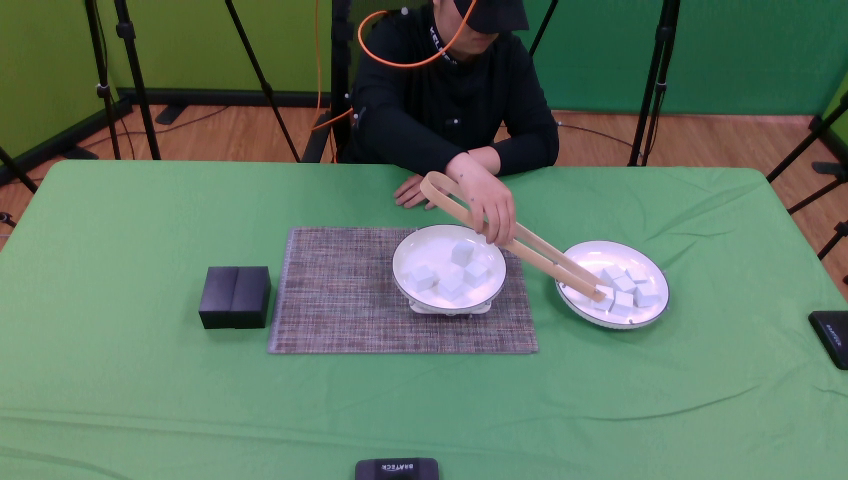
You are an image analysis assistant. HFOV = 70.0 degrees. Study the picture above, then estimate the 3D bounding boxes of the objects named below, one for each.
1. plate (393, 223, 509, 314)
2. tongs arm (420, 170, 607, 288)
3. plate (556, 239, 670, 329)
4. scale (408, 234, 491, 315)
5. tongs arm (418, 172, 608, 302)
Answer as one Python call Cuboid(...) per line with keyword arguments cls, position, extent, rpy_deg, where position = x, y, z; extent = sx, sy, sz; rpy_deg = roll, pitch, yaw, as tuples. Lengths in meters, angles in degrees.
Cuboid(cls="plate", position=(0.048, 0.053, 1.091), extent=(0.208, 0.039, 0.206), rpy_deg=(1, 46, -1))
Cuboid(cls="tongs arm", position=(0.162, -0.015, 1.069), extent=(0.388, 0.028, 0.028), rpy_deg=(31, 41, -9))
Cuboid(cls="plate", position=(0.347, 0.083, 1.130), extent=(0.209, 0.038, 0.208), rpy_deg=(2, 47, -2))
Cuboid(cls="scale", position=(0.045, 0.055, 1.135), extent=(0.149, 0.032, 0.199), rpy_deg=(1, 46, -3))
Cuboid(cls="tongs arm", position=(0.157, -0.002, 1.050), extent=(0.386, 0.026, 0.050), rpy_deg=(29, 38, -13))
